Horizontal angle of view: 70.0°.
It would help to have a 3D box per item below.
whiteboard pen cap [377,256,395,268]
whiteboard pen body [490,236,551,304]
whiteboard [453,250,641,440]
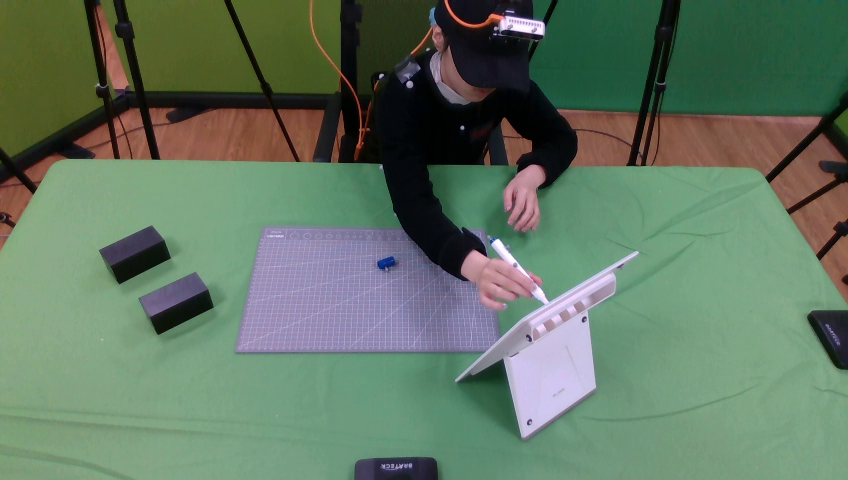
[{"bbox_3d":[-0.072,0.042,1.149,0.033,0.018,0.018,-18,50,-17],"label":"whiteboard pen cap"},{"bbox_3d":[0.149,0.049,0.917,0.017,0.017,0.140,-30,71,-28],"label":"whiteboard pen body"},{"bbox_3d":[0.206,0.175,0.890,0.217,0.306,0.143,-25,72,-25],"label":"whiteboard"}]
